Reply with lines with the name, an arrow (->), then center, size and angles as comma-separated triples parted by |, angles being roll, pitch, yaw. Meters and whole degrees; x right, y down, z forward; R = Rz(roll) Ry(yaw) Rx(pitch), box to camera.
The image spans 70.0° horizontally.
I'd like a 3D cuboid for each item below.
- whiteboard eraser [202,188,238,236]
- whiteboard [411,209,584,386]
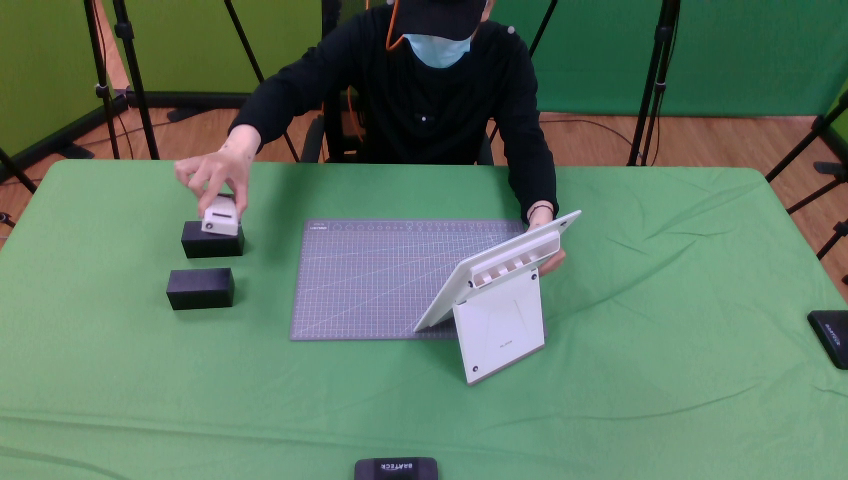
whiteboard eraser -> -0.349, -0.045, 1.033 | 0.056, 0.042, 0.112 | 12, 27, -27
whiteboard -> 0.134, 0.110, 0.944 | 0.217, 0.306, 0.143 | -21, 72, -22
